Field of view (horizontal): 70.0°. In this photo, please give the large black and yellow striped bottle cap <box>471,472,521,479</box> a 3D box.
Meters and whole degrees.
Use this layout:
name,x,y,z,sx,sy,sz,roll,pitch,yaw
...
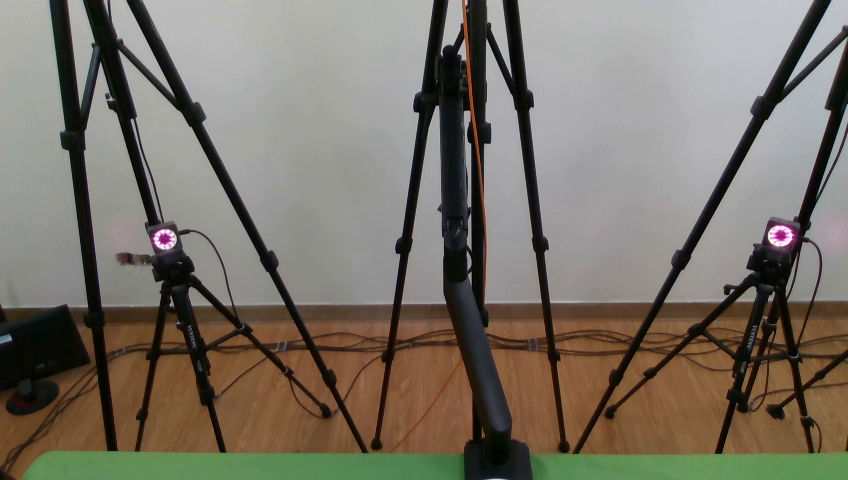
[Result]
name,x,y,z,sx,sy,sz,roll,pitch,yaw
large black and yellow striped bottle cap,0.101,0.368,0.823,0.115,0.019,0.114,-1,33,1

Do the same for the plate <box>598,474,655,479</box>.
name,x,y,z,sx,sy,sz,roll,pitch,yaw
plate,0.338,0.466,0.951,0.209,0.038,0.207,-2,32,2

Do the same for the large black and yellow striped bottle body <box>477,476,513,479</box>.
name,x,y,z,sx,sy,sz,roll,pitch,yaw
large black and yellow striped bottle body,0.102,0.440,0.868,0.131,0.185,0.129,-1,32,1
